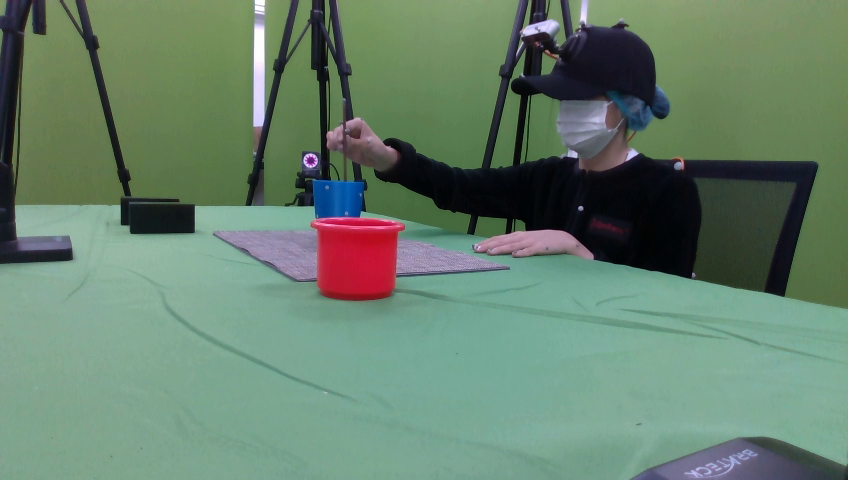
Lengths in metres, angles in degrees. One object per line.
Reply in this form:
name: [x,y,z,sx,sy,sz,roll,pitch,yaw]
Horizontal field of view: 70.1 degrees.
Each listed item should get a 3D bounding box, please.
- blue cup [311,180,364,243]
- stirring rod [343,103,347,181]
blue cup: [-0.144,-0.047,0.997,0.093,0.100,0.092,3,6,0]
stirring rod: [-0.133,-0.141,1.013,0.006,0.176,0.014,0,3,-12]
